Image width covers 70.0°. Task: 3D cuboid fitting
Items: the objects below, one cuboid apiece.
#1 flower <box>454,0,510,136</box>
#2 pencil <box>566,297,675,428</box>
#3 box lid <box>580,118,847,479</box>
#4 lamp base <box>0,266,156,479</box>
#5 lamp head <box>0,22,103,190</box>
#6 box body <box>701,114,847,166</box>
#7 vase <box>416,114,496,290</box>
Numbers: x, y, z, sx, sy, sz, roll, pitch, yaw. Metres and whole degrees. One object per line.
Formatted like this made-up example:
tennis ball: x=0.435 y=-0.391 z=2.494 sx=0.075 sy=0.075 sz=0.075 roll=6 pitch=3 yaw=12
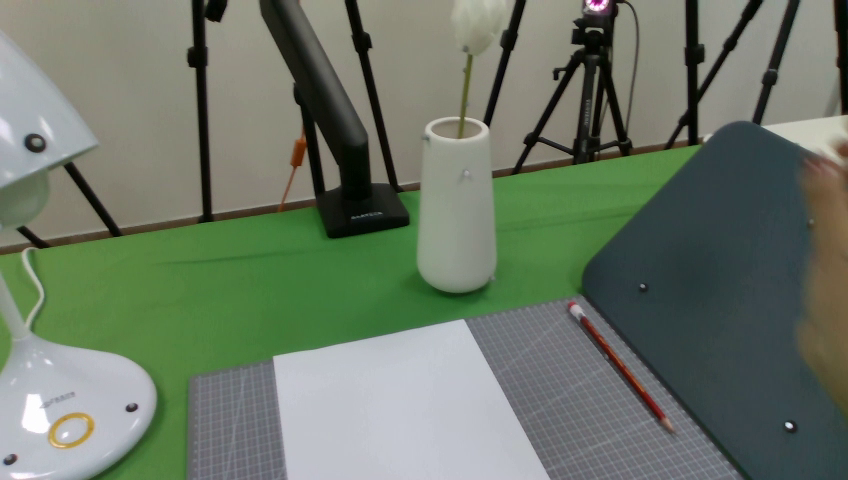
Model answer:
flower: x=0.035 y=-0.098 z=0.640 sx=0.044 sy=0.364 sz=0.038 roll=25 pitch=53 yaw=13
pencil: x=0.196 y=0.119 z=0.622 sx=0.012 sy=0.012 sz=0.192 roll=-11 pitch=35 yaw=-15
box lid: x=0.324 y=0.045 z=0.570 sx=0.015 sy=0.263 sz=0.367 roll=33 pitch=16 yaw=-34
lamp base: x=-0.343 y=0.090 z=0.523 sx=0.177 sy=0.182 sz=0.160 roll=24 pitch=40 yaw=36
lamp head: x=-0.268 y=-0.081 z=0.340 sx=0.112 sy=0.123 sz=0.112 roll=-27 pitch=16 yaw=9
box body: x=0.493 y=0.011 z=0.649 sx=0.255 sy=0.162 sz=0.360 roll=-10 pitch=34 yaw=-13
vase: x=0.036 y=-0.041 z=0.703 sx=0.098 sy=0.201 sz=0.097 roll=-1 pitch=32 yaw=1
